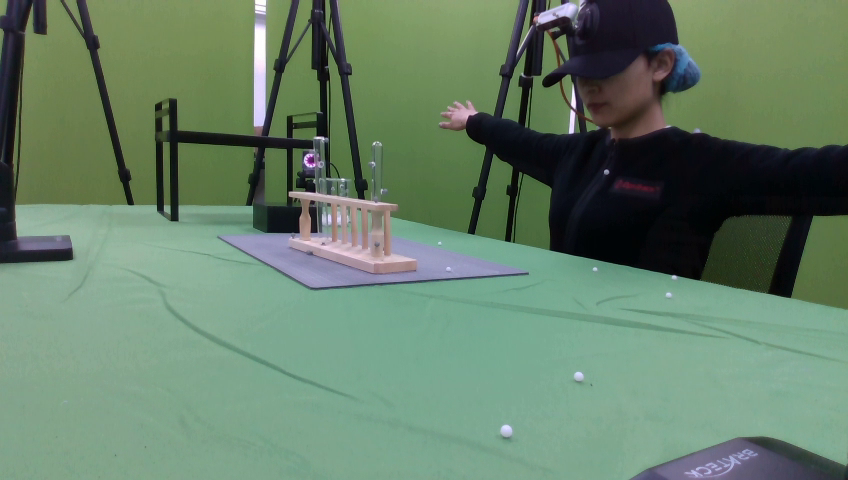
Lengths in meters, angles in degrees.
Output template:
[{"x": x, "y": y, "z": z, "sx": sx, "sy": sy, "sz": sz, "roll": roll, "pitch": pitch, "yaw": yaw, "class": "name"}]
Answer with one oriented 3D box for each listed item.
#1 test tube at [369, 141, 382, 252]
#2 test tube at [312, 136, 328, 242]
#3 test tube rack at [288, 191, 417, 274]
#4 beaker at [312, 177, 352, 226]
[{"x": -0.065, "y": -0.056, "z": 0.808, "sx": 0.017, "sy": 0.150, "sz": 0.017, "roll": 1, "pitch": 8, "yaw": 0, "class": "test tube"}, {"x": -0.146, "y": -0.070, "z": 0.850, "sx": 0.017, "sy": 0.150, "sz": 0.017, "roll": 0, "pitch": 11, "yaw": 0, "class": "test tube"}, {"x": -0.106, "y": -0.017, "z": 0.835, "sx": 0.067, "sy": 0.085, "sz": 0.241, "roll": -3, "pitch": 10, "yaw": -37, "class": "test tube rack"}, {"x": -0.194, "y": -0.081, "z": 1.266, "sx": 0.084, "sy": 0.100, "sz": 0.073, "roll": -3, "pitch": 9, "yaw": -29, "class": "beaker"}]
